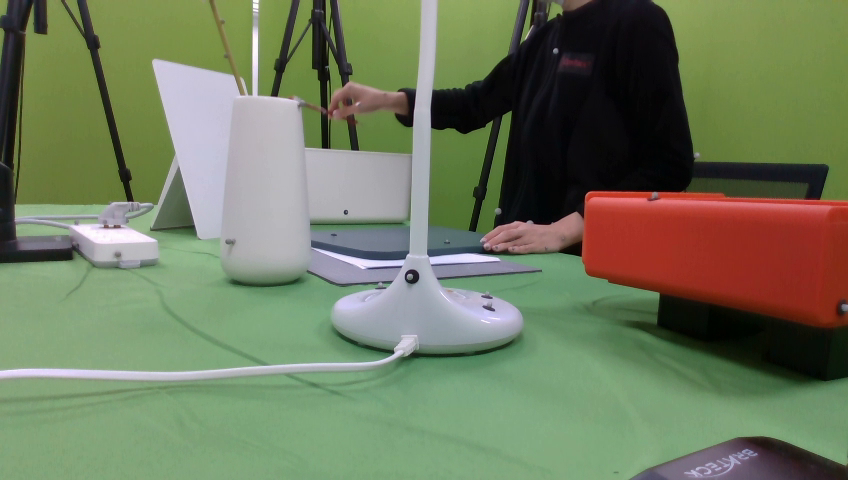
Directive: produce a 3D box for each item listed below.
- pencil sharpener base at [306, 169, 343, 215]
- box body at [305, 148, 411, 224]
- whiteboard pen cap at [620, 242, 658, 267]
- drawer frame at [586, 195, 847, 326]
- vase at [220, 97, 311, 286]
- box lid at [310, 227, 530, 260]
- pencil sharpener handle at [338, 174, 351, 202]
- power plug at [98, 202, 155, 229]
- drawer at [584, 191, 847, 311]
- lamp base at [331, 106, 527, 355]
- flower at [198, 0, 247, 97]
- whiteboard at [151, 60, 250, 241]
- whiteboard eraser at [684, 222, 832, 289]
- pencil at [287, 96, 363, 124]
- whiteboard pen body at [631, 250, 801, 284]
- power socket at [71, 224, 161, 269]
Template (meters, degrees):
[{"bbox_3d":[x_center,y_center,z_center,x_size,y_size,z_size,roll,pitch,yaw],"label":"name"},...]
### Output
[{"bbox_3d":[-0.234,-0.113,1.433,0.077,0.107,0.061,-1,6,-30],"label":"pencil sharpener base"},{"bbox_3d":[-0.233,-0.127,1.374,0.366,0.160,0.253,-2,8,-29],"label":"box body"},{"bbox_3d":[0.199,0.013,0.557,0.018,0.018,0.033,-4,17,-39],"label":"whiteboard pen cap"},{"bbox_3d":[0.284,0.004,0.508,0.203,0.082,0.212,-1,6,-28],"label":"drawer frame"},{"bbox_3d":[-0.172,-0.052,0.662,0.098,0.200,0.098,3,8,0],"label":"vase"},{"bbox_3d":[-0.024,0.001,1.023,0.374,0.015,0.262,-3,9,-44],"label":"box lid"},{"bbox_3d":[-0.190,-0.126,1.459,0.031,0.067,0.036,-1,10,-30],"label":"pencil sharpener handle"},{"bbox_3d":[-0.416,-0.027,0.848,0.073,0.052,0.035,0,8,-28],"label":"power plug"},{"bbox_3d":[0.280,0.001,0.513,0.195,0.073,0.211,0,8,-28],"label":"drawer"},{"bbox_3d":[0.006,-0.012,0.478,0.161,0.180,0.179,2,10,2],"label":"lamp base"},{"bbox_3d":[-0.187,-0.133,0.648,0.038,0.362,0.044,-1,22,43],"label":"flower"},{"bbox_3d":[-0.408,-0.140,1.094,0.143,0.305,0.218,-15,0,25],"label":"whiteboard"},{"bbox_3d":[0.305,0.013,0.558,0.056,0.042,0.112,-9,19,-30],"label":"whiteboard eraser"},{"bbox_3d":[-0.202,-0.269,1.271,0.012,0.012,0.195,10,0,45],"label":"pencil"},{"bbox_3d":[0.240,0.020,0.512,0.017,0.017,0.140,-4,8,-41],"label":"whiteboard pen body"},{"bbox_3d":[-0.408,0.004,0.793,0.072,0.032,0.225,-2,8,-38],"label":"power socket"}]
